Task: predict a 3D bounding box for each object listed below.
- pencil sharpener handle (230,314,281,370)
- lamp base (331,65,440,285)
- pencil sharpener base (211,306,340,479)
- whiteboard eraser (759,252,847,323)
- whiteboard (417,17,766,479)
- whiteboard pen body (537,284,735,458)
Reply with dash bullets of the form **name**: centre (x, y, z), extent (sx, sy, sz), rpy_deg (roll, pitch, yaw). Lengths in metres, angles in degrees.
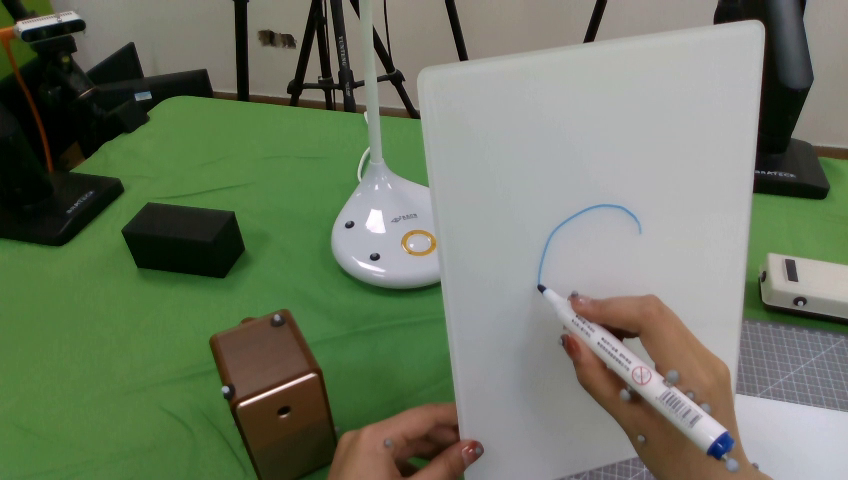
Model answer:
- **pencil sharpener handle**: centre (-0.131, 0.075, 0.477), extent (0.036, 0.068, 0.030), rpy_deg (-27, 45, -14)
- **lamp base**: centre (-0.029, -0.073, 0.615), extent (0.161, 0.182, 0.177), rpy_deg (-24, 42, -24)
- **pencil sharpener base**: centre (-0.109, 0.113, 0.449), extent (0.061, 0.108, 0.076), rpy_deg (-21, 43, -20)
- **whiteboard eraser**: centre (0.373, 0.047, 0.559), extent (0.112, 0.042, 0.055), rpy_deg (9, 39, 15)
- **whiteboard**: centre (0.105, 0.008, 0.456), extent (0.217, 0.307, 0.142), rpy_deg (-11, 21, -9)
- **whiteboard pen body**: centre (0.109, 0.065, 0.337), extent (0.017, 0.017, 0.139), rpy_deg (-23, 44, -23)
